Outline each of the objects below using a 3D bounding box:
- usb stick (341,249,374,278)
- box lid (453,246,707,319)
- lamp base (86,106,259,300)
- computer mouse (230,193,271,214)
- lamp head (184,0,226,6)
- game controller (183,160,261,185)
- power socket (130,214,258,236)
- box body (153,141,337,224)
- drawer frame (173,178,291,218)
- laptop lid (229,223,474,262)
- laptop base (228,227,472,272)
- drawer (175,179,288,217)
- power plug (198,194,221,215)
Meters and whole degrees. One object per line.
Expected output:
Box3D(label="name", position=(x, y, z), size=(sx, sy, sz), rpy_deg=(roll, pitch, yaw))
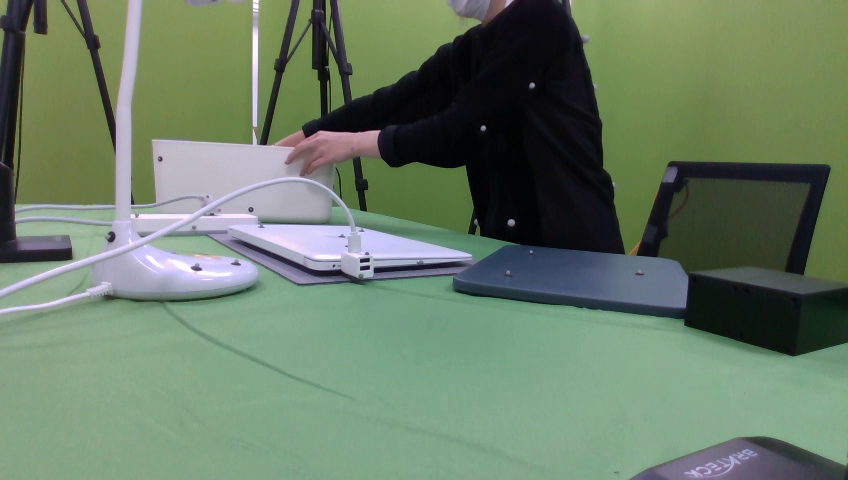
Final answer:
Box3D(label="usb stick", position=(-0.079, 0.026, 0.686), size=(0.021, 0.027, 0.059), rpy_deg=(-7, 9, -30))
Box3D(label="box lid", position=(0.203, 0.044, 0.780), size=(0.262, 0.015, 0.372), rpy_deg=(5, 7, 17))
Box3D(label="lamp base", position=(-0.254, -0.039, 0.603), size=(0.160, 0.180, 0.179), rpy_deg=(4, 10, 18))
Box3D(label="computer mouse", position=(-0.380, -0.081, 1.333), size=(0.063, 0.041, 0.117), rpy_deg=(6, 11, 0))
Box3D(label="lamp head", position=(-0.229, -0.320, 0.627), size=(0.112, 0.112, 0.123), rpy_deg=(6, -36, 26))
Box3D(label="game controller", position=(-0.442, -0.146, 1.314), size=(0.156, 0.051, 0.096), rpy_deg=(-1, 5, -33))
Box3D(label="power socket", position=(-0.397, -0.028, 1.048), size=(0.228, 0.032, 0.072), rpy_deg=(-3, 7, -35))
Box3D(label="box body", position=(-0.380, -0.130, 1.343), size=(0.365, 0.160, 0.253), rpy_deg=(1, 7, -9))
Box3D(label="drawer frame", position=(-0.411, -0.096, 1.329), size=(0.214, 0.082, 0.201), rpy_deg=(-2, 6, -7))
Box3D(label="laptop lid", position=(-0.121, 0.000, 0.888), size=(0.243, 0.013, 0.355), rpy_deg=(1, 7, -33))
Box3D(label="laptop base", position=(-0.124, 0.011, 0.889), size=(0.237, 0.023, 0.352), rpy_deg=(2, 6, -35))
Box3D(label="drawer", position=(-0.413, -0.098, 1.333), size=(0.212, 0.073, 0.194), rpy_deg=(2, 8, -8))
Box3D(label="power plug", position=(-0.386, -0.055, 1.088), size=(0.035, 0.052, 0.072), rpy_deg=(-2, 7, -24))
